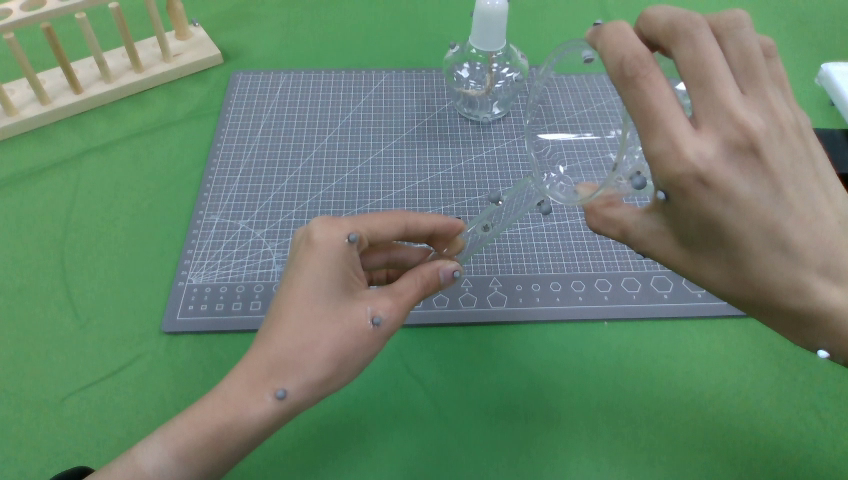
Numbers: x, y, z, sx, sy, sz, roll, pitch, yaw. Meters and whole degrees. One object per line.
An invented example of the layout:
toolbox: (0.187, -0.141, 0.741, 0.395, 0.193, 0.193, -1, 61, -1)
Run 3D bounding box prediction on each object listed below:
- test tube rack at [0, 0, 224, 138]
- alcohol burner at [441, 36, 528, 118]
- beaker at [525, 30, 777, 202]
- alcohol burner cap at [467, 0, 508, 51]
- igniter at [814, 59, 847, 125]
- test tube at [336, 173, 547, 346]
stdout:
test tube rack: (-0.322, -0.178, 0.559, 0.242, 0.086, 0.066, -27, 56, -20)
alcohol burner: (0.055, -0.167, 0.530, 0.078, 0.120, 0.077, 1, 53, -1)
beaker: (0.110, -0.056, 0.297, 0.101, 0.084, 0.073, -6, 57, -23)
alcohol burner cap: (0.054, -0.187, 0.507, 0.034, 0.048, 0.033, 2, 50, -2)
igniter: (0.346, -0.045, 0.434, 0.057, 0.025, 0.274, 0, 50, 4)
test tube: (0.005, 0.015, 0.334, 0.150, 0.017, 0.017, -39, 50, 21)
